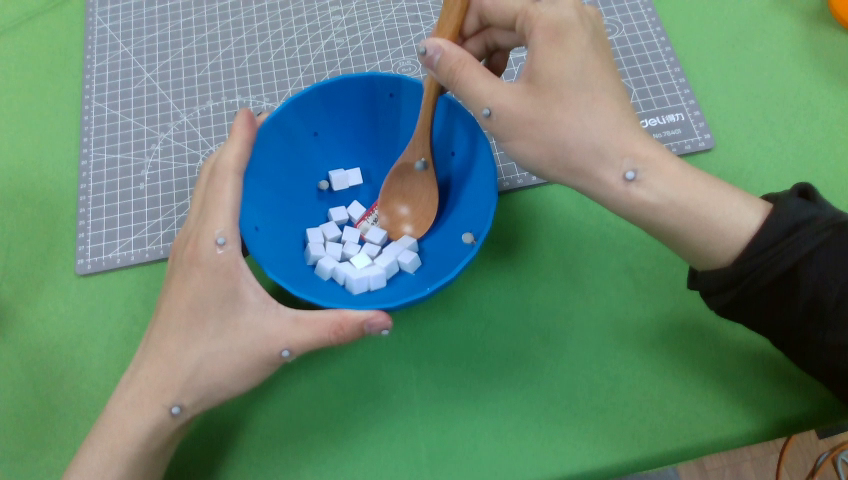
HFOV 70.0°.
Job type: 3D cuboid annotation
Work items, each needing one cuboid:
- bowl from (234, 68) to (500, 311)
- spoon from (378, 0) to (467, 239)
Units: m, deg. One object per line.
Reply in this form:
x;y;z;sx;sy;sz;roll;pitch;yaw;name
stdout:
-0.031;-0.021;0.377;0.151;0.077;0.150;-1;70;2;bowl
0.006;-0.082;0.341;0.041;0.195;0.021;29;39;18;spoon
